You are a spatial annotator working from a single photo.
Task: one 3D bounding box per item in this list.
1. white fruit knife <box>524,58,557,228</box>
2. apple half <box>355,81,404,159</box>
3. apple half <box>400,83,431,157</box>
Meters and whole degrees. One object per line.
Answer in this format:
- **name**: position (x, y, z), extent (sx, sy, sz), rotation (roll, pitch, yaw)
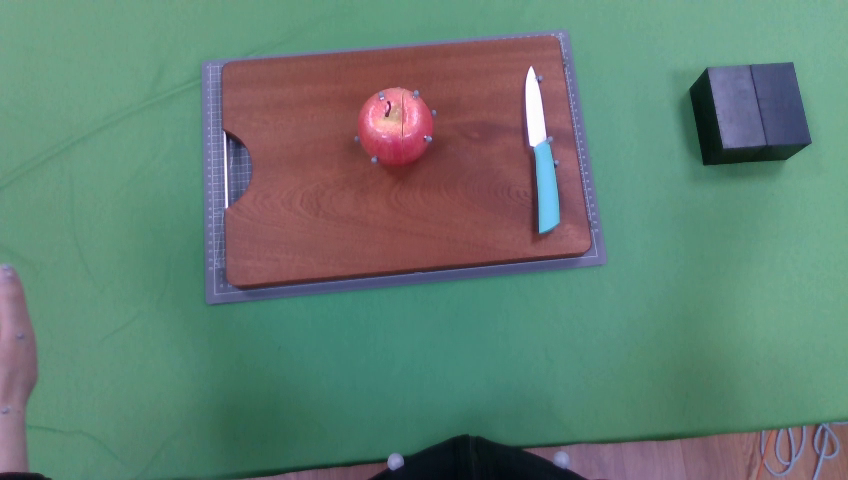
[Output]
- **white fruit knife**: position (0.129, -0.113, 0.681), extent (0.027, 0.016, 0.206), rotation (0, 76, -14)
- **apple half**: position (-0.047, -0.127, 0.654), extent (0.053, 0.075, 0.080), rotation (-1, 80, 4)
- **apple half**: position (-0.008, -0.128, 0.653), extent (0.033, 0.081, 0.081), rotation (-1, 76, 3)
